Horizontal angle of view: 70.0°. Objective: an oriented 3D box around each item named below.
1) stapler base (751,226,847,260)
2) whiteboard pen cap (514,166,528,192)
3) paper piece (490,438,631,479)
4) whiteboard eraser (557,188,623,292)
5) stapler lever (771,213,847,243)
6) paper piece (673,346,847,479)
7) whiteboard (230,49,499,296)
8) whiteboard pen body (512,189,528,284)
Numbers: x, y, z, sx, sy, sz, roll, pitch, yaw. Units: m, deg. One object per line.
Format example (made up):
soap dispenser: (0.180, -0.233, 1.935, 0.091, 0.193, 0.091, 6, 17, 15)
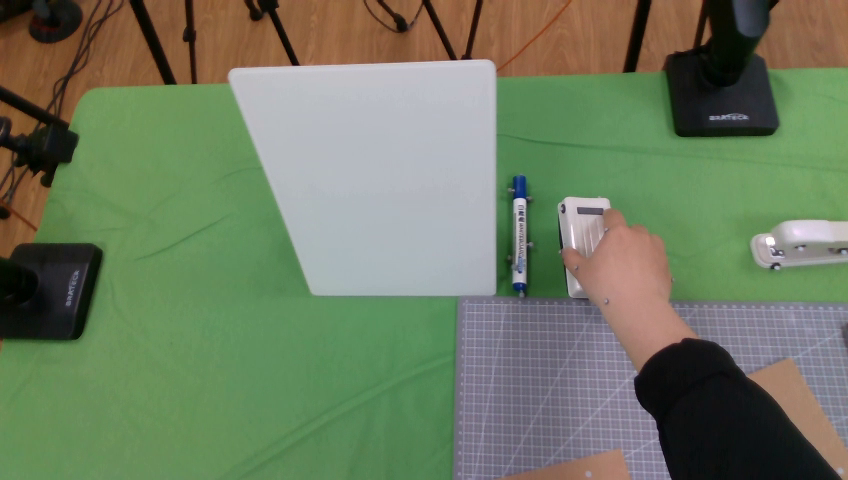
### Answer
stapler base: (0.434, -0.004, 0.669, 0.130, 0.024, 0.041, -4, 70, 2)
whiteboard pen cap: (0.117, -0.071, 0.728, 0.018, 0.018, 0.033, -1, 66, 6)
paper piece: (0.146, 0.276, 0.589, 0.135, 0.004, 0.134, -14, 68, 0)
whiteboard eraser: (0.178, 0.000, 0.656, 0.056, 0.042, 0.112, 0, 69, -6)
stapler lever: (0.433, -0.013, 0.647, 0.118, 0.040, 0.026, -5, 70, 3)
paper piece: (0.342, 0.194, 0.603, 0.136, 0.009, 0.137, -22, 70, 1)
whiteboard: (-0.032, -0.091, 0.630, 0.217, 0.308, 0.142, 1, 49, 6)
whiteboard pen body: (0.113, -0.016, 0.708, 0.017, 0.017, 0.140, 2, 67, 7)
